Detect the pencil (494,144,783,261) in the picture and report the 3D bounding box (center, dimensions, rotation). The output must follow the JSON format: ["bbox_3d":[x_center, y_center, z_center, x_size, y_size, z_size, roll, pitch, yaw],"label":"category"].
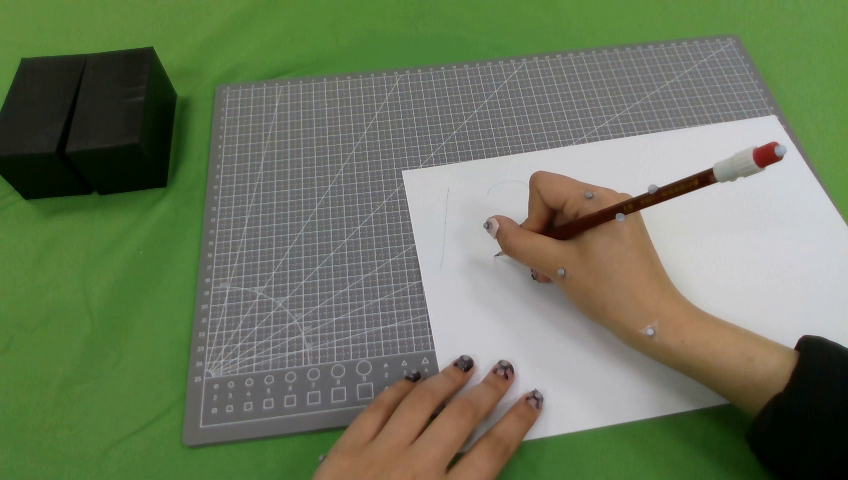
[{"bbox_3d":[0.100,-0.012,0.336,0.012,0.194,0.012,11,69,-31],"label":"pencil"}]
